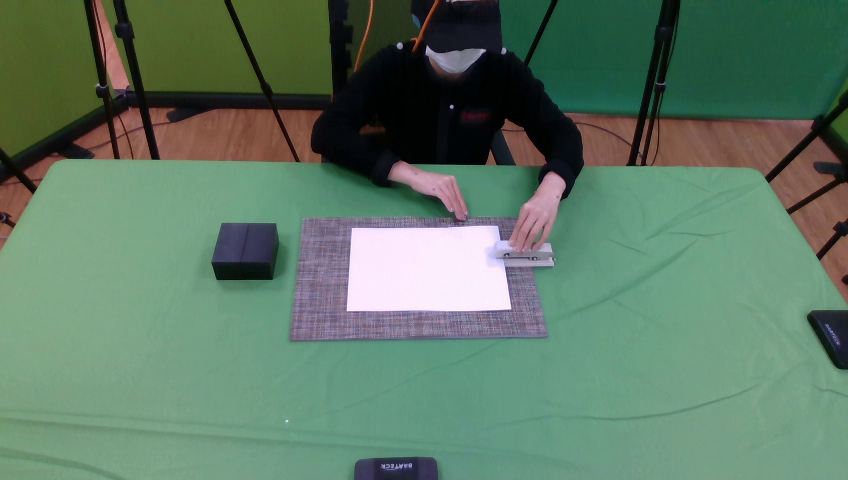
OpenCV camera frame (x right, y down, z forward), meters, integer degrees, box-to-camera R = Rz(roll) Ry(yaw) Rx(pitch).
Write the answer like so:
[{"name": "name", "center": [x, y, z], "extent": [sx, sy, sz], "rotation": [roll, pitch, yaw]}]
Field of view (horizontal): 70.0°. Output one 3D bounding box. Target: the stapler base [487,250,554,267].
[{"name": "stapler base", "center": [0.189, 0.029, 1.178], "extent": [0.131, 0.024, 0.041], "rotation": [0, 48, -7]}]

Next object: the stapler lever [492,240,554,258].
[{"name": "stapler lever", "center": [0.191, 0.017, 1.166], "extent": [0.118, 0.040, 0.026], "rotation": [-6, 49, 0]}]
